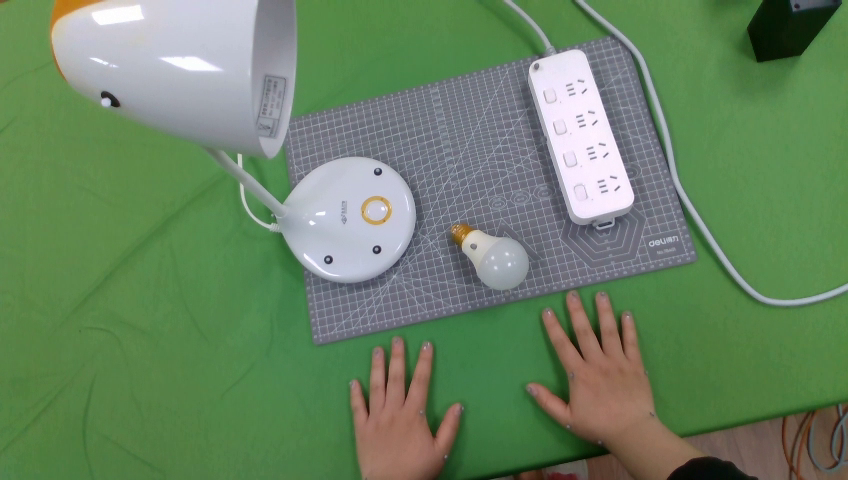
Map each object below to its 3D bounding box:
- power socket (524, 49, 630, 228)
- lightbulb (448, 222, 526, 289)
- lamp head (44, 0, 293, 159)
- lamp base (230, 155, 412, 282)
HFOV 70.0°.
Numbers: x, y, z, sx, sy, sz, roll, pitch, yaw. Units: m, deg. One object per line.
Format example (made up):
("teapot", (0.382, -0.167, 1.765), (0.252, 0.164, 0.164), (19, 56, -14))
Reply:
("power socket", (0.178, -0.124, 0.715), (0.072, 0.033, 0.225), (-15, 74, 3))
("lightbulb", (0.067, 0.012, 0.688), (0.106, 0.060, 0.059), (37, 83, 31))
("lamp head", (-0.142, -0.106, 0.349), (0.123, 0.113, 0.112), (5, 76, 2))
("lamp base", (-0.117, -0.043, 0.660), (0.179, 0.181, 0.159), (-16, 74, 7))
